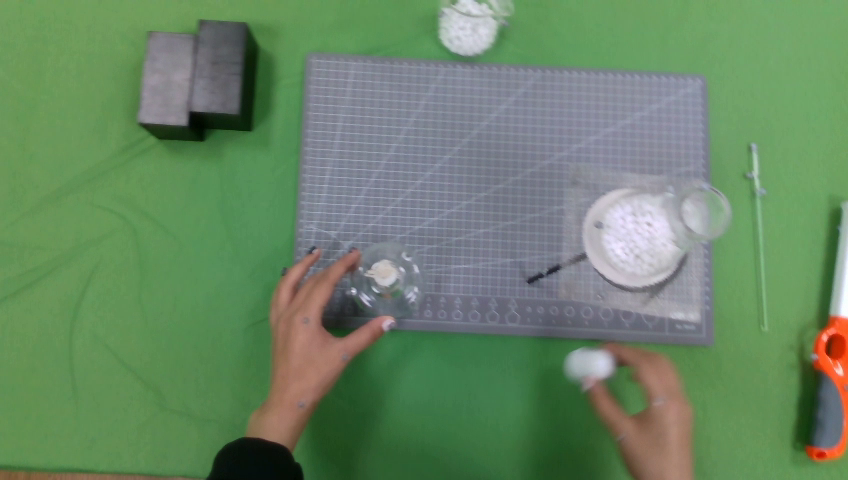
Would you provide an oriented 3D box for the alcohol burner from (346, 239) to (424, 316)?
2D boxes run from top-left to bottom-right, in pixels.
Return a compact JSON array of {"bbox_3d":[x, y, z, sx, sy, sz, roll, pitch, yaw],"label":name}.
[{"bbox_3d":[-0.038,0.035,0.587,0.078,0.119,0.077,0,83,0],"label":"alcohol burner"}]

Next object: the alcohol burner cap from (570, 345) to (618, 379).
[{"bbox_3d":[0.169,0.117,0.590,0.034,0.048,0.033,7,72,-23],"label":"alcohol burner cap"}]

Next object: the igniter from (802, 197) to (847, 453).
[{"bbox_3d":[0.440,0.089,0.644,0.057,0.025,0.275,15,82,-10],"label":"igniter"}]

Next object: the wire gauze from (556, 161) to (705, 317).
[{"bbox_3d":[0.179,-0.002,0.524,0.125,0.011,0.121,9,85,-3],"label":"wire gauze"}]

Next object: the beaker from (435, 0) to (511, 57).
[{"bbox_3d":[0.051,-0.244,0.639,0.084,0.100,0.074,39,83,3],"label":"beaker"}]

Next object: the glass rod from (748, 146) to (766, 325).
[{"bbox_3d":[0.363,-0.007,0.663,0.008,0.008,0.199,1,82,-2],"label":"glass rod"}]

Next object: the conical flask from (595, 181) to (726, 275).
[{"bbox_3d":[0.184,-0.014,0.466,0.075,0.122,0.075,0,84,-2],"label":"conical flask"}]

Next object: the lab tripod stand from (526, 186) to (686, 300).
[{"bbox_3d":[0.179,0.009,0.589,0.148,0.132,0.148,0,84,-1],"label":"lab tripod stand"}]
